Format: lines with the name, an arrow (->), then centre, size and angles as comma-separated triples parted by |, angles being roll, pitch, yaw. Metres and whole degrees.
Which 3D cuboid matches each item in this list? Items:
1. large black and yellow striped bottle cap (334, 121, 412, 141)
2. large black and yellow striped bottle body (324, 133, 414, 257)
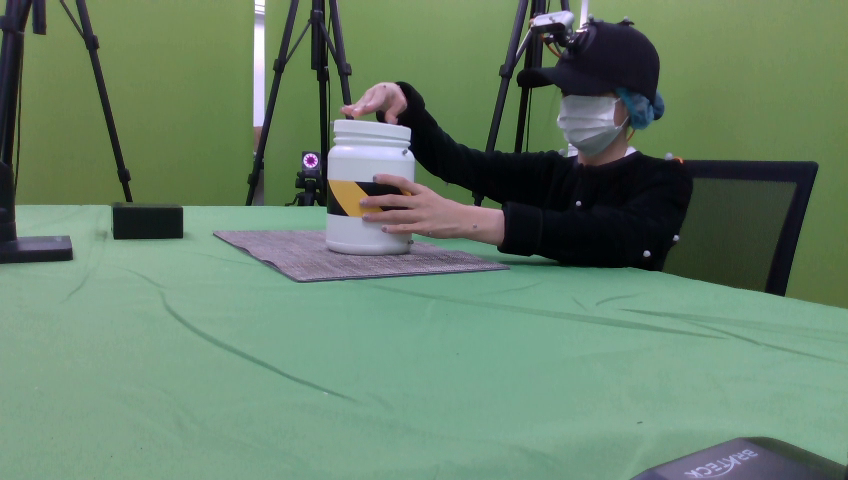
large black and yellow striped bottle cap -> -0.075, -0.160, 0.893 | 0.115, 0.019, 0.115 | 5, 5, 0
large black and yellow striped bottle body -> -0.081, -0.074, 0.905 | 0.131, 0.184, 0.130 | 3, 7, 0
